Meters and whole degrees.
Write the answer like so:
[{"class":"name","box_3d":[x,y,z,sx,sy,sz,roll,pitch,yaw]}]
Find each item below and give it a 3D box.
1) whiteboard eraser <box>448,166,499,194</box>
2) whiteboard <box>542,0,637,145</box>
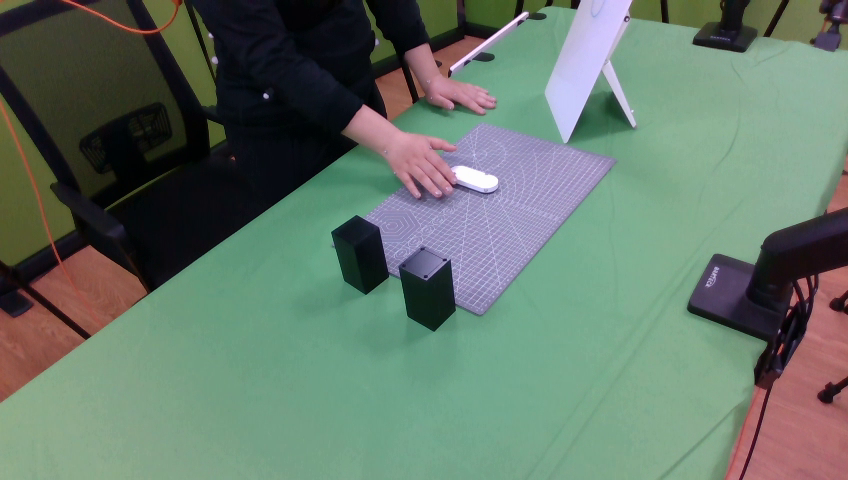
[{"class":"whiteboard eraser","box_3d":[0.088,-0.108,1.083,0.100,0.019,0.041,23,50,32]},{"class":"whiteboard","box_3d":[0.366,-0.351,1.160,0.144,0.305,0.216,10,39,-10]}]
